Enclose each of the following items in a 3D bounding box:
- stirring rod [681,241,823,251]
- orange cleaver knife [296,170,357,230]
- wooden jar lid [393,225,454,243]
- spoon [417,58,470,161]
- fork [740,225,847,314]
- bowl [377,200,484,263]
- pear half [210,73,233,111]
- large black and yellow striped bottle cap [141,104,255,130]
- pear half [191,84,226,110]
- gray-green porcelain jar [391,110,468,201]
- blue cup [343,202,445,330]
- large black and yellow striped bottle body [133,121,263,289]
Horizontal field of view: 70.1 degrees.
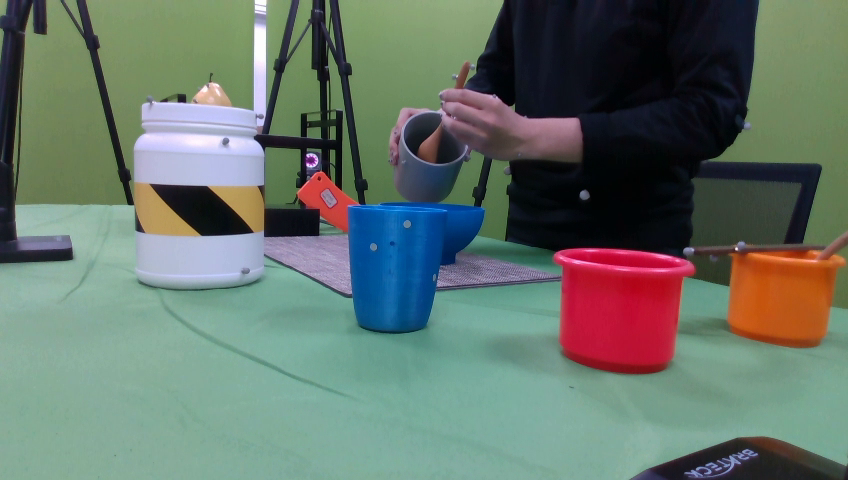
[{"bbox_3d":[0.289,0.005,0.525,0.177,0.006,0.014,-1,5,-26],"label":"stirring rod"},{"bbox_3d":[-0.149,-0.058,1.170,0.212,0.077,0.012,33,-14,-32],"label":"orange cleaver knife"},{"bbox_3d":[-0.001,-0.011,1.058,0.108,0.020,0.108,8,5,0],"label":"wooden jar lid"},{"bbox_3d":[0.026,-0.175,0.864,0.022,0.193,0.041,-3,48,-33],"label":"spoon"},{"bbox_3d":[0.323,0.013,0.485,0.028,0.018,0.207,8,-38,-5],"label":"fork"},{"bbox_3d":[0.008,-0.012,0.842,0.151,0.077,0.151,2,7,0],"label":"bowl"},{"bbox_3d":[-0.402,-0.262,1.162,0.076,0.109,0.056,6,7,2],"label":"pear half"},{"bbox_3d":[-0.241,-0.131,0.650,0.115,0.019,0.115,3,8,0],"label":"large black and yellow striped bottle cap"},{"bbox_3d":[-0.406,-0.248,1.128,0.070,0.088,0.031,6,7,2],"label":"pear half"},{"bbox_3d":[0.004,-0.125,0.959,0.106,0.105,0.126,1,-29,-12],"label":"gray-green porcelain jar"},{"bbox_3d":[-0.027,0.021,0.510,0.093,0.100,0.092,3,5,0],"label":"blue cup"},{"bbox_3d":[-0.243,-0.048,0.659,0.131,0.184,0.130,2,7,0],"label":"large black and yellow striped bottle body"}]
